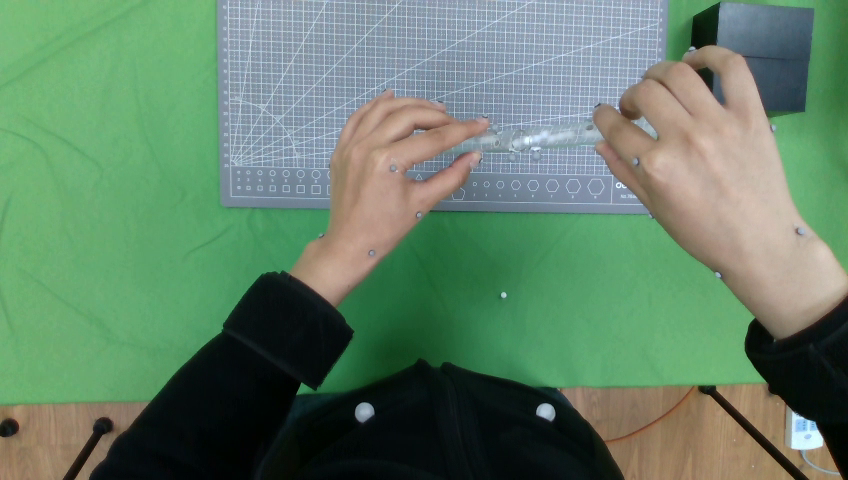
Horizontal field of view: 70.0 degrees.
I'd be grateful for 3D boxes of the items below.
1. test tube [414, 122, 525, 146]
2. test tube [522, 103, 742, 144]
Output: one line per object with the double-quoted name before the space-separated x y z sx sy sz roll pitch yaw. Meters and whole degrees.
"test tube" 0.030 -0.083 0.480 0.017 0.149 0.017 -5 100 -28
"test tube" 0.142 -0.080 0.413 0.150 0.017 0.017 -5 96 -1
